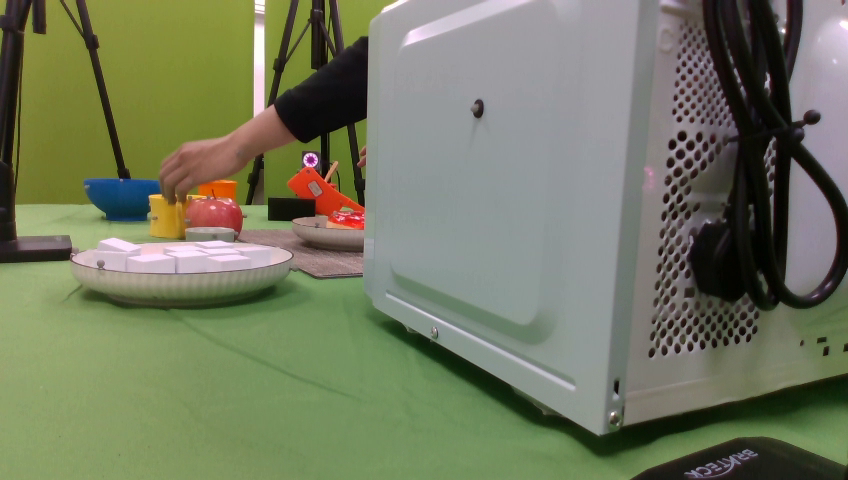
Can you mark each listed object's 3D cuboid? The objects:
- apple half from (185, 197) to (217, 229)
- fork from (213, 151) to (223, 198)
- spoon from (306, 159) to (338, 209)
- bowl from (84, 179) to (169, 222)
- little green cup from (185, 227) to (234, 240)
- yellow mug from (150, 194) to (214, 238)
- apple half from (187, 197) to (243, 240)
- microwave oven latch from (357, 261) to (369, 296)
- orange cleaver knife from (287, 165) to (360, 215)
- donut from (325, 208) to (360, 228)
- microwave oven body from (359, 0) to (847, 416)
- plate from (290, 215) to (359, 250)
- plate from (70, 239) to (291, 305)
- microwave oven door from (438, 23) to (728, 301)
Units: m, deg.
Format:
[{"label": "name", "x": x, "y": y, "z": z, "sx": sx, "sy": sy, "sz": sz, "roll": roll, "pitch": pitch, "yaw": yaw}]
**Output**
[{"label": "apple half", "x": -0.339, "y": -0.031, "z": 0.927, "sx": 0.032, "sy": 0.081, "sz": 0.081, "roll": 14, "pitch": 12, "yaw": 31}, {"label": "fork", "x": -0.494, "y": -0.143, "z": 1.442, "sx": 0.028, "sy": 0.018, "sz": 0.206, "roll": -3, "pitch": 52, "yaw": -19}, {"label": "spoon", "x": -0.257, "y": -0.147, "z": 1.567, "sx": 0.041, "sy": 0.022, "sz": 0.193, "roll": 2, "pitch": 51, "yaw": 19}, {"label": "bowl", "x": -0.584, "y": -0.078, "z": 1.194, "sx": 0.151, "sy": 0.077, "sz": 0.151, "roll": 3, "pitch": 8, "yaw": 0}, {"label": "little green cup", "x": -0.285, "y": 0.005, "z": 0.805, "sx": 0.061, "sy": 0.038, "sz": 0.061, "roll": 2, "pitch": 8, "yaw": 0}, {"label": "yellow mug", "x": -0.401, "y": -0.039, "z": 1.003, "sx": 0.100, "sy": 0.064, "sz": 0.130, "roll": 0, "pitch": 9, "yaw": -20}, {"label": "apple half", "x": -0.305, "y": -0.026, "z": 0.907, "sx": 0.053, "sy": 0.074, "sz": 0.081, "roll": 12, "pitch": 8, "yaw": 31}, {"label": "microwave oven latch", "x": -0.019, "y": 0.033, "z": 0.532, "sx": 0.079, "sy": 0.029, "sz": 0.030, "roll": -1, "pitch": 8, "yaw": -29}, {"label": "orange cleaver knife", "x": -0.211, "y": -0.092, "z": 1.382, "sx": 0.212, "sy": 0.077, "sz": 0.012, "roll": 33, "pitch": 1, "yaw": -15}, {"label": "donut", "x": -0.111, "y": -0.025, "z": 0.974, "sx": 0.099, "sy": 0.048, "sz": 0.099, "roll": 5, "pitch": 8, "yaw": 0}, {"label": "microwave oven body", "x": 0.211, "y": -0.047, "z": 0.474, "sx": 0.444, "sy": 0.260, "sz": 0.324, "roll": -1, "pitch": 7, "yaw": -28}, {"label": "plate", "x": -0.110, "y": -0.013, "z": 0.974, "sx": 0.209, "sy": 0.038, "sz": 0.209, "roll": 3, "pitch": 8, "yaw": 0}, {"label": "plate", "x": -0.242, "y": 0.031, "z": 0.618, "sx": 0.208, "sy": 0.039, "sz": 0.207, "roll": 3, "pitch": 8, "yaw": 0}, {"label": "microwave oven door", "x": 0.181, "y": -0.073, "z": 0.621, "sx": 0.358, "sy": 0.243, "sz": 0.039, "roll": -2, "pitch": 8, "yaw": -29}]
